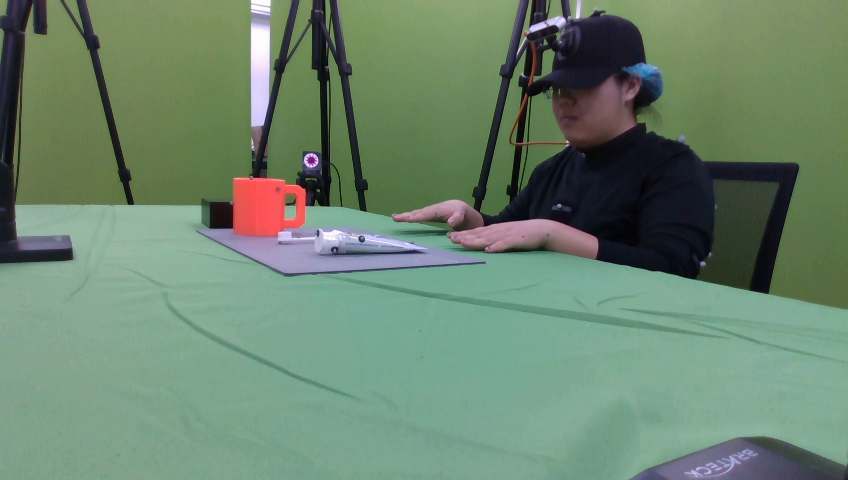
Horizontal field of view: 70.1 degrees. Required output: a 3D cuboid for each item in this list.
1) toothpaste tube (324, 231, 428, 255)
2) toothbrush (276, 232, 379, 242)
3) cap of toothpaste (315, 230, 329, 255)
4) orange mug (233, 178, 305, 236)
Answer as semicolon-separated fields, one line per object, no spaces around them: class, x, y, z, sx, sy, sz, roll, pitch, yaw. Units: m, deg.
toothpaste tube;-0.076;0.006;0.893;0.166;0.034;0.055;1;11;-32
toothbrush;-0.153;-0.005;0.990;0.183;0.016;0.014;-1;-6;-33
cap of toothpaste;-0.144;0.003;0.854;0.011;0.037;0.037;2;6;-30
orange mug;-0.273;-0.061;1.067;0.127;0.101;0.083;-5;10;-24
